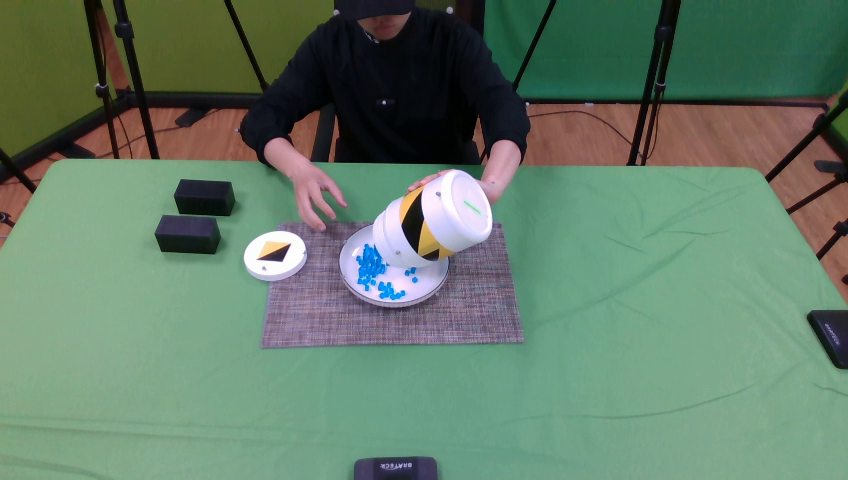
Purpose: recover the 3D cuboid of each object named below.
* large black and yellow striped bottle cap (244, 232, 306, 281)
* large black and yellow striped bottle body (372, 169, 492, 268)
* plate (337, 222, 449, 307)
[{"bbox_3d":[-0.283,0.030,1.145,0.115,0.019,0.114,-1,45,1],"label":"large black and yellow striped bottle cap"},{"bbox_3d":[0.011,-0.030,1.051,0.184,0.131,0.130,-25,33,35],"label":"large black and yellow striped bottle body"},{"bbox_3d":[-0.057,0.045,1.133,0.208,0.039,0.206,2,46,-2],"label":"plate"}]
